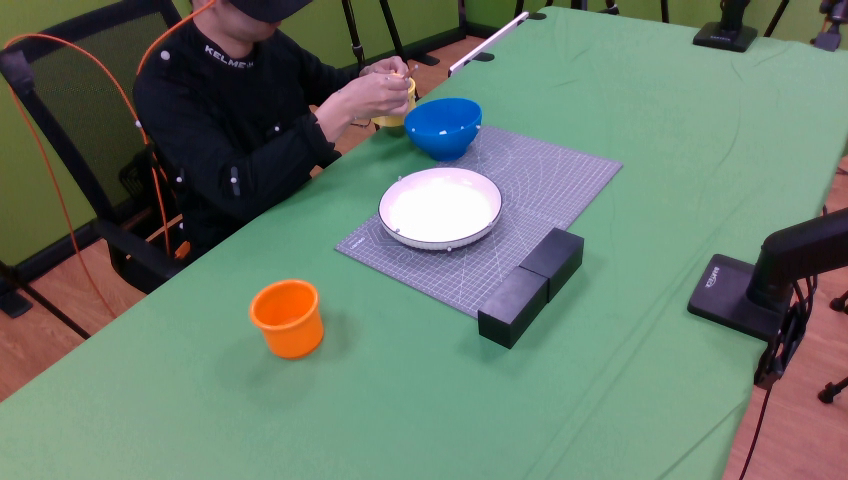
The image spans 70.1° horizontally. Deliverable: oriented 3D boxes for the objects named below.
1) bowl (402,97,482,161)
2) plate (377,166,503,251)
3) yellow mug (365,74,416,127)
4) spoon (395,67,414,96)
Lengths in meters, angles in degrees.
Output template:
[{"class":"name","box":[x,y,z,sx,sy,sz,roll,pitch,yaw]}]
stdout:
[{"class":"bowl","box":[0.040,-0.203,1.155,0.151,0.077,0.150,-7,38,6]},{"class":"plate","box":[0.027,-0.050,1.007,0.209,0.038,0.208,-4,41,4]},{"class":"yellow mug","box":[-0.064,-0.292,1.231,0.100,0.064,0.130,-1,42,4]},{"class":"spoon","box":[-0.044,-0.288,1.149,0.042,0.193,0.021,-29,86,-14]}]
